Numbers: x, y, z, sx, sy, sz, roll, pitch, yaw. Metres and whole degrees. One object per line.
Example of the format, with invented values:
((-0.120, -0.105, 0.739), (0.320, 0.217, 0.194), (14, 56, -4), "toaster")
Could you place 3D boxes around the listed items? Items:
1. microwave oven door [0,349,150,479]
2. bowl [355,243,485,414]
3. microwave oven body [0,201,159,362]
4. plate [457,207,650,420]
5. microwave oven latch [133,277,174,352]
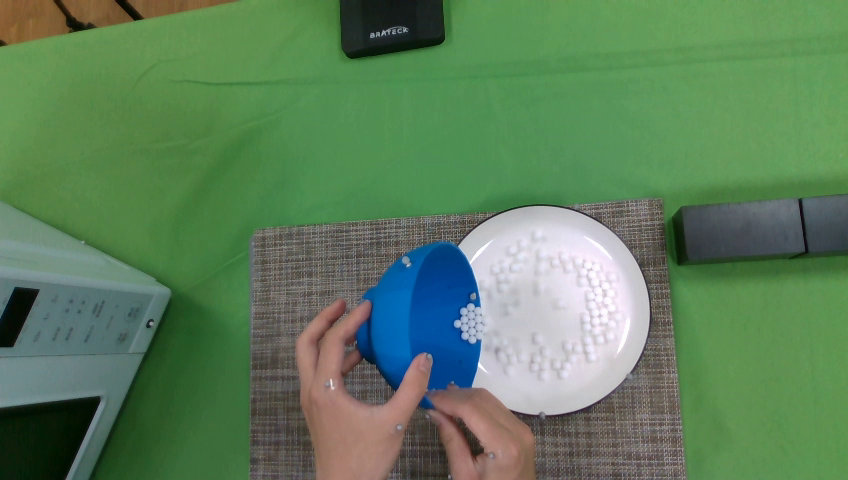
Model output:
((-0.423, 0.268, 0.574), (0.039, 0.245, 0.355), (22, 87, 16), "microwave oven door")
((-0.010, 0.079, 0.551), (0.076, 0.152, 0.151), (-4, 80, 28), "bowl")
((-0.536, 0.176, 0.618), (0.324, 0.261, 0.441), (23, 88, 14), "microwave oven body")
((0.114, 0.072, 0.605), (0.207, 0.039, 0.207), (-2, 81, 12), "plate")
((-0.312, 0.084, 0.683), (0.030, 0.029, 0.079), (25, 88, 14), "microwave oven latch")
